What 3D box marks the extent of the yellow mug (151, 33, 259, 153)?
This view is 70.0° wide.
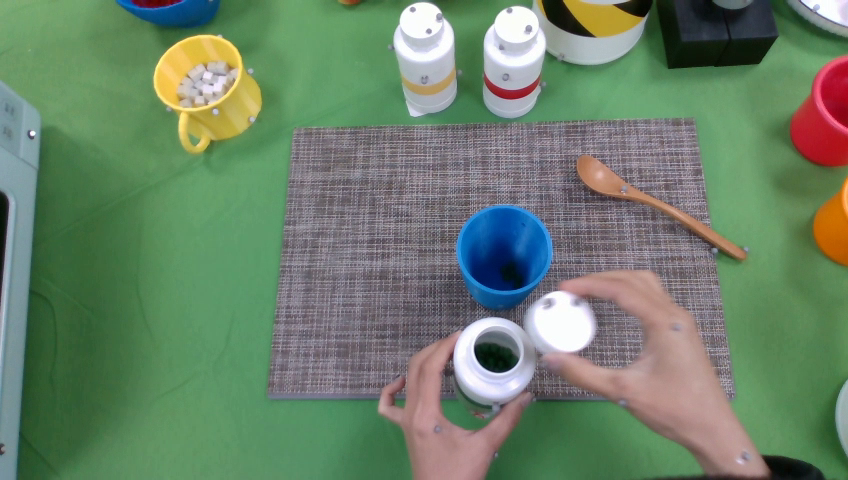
[{"bbox_3d":[-0.250,-0.160,0.686,0.100,0.064,0.130,9,72,6],"label":"yellow mug"}]

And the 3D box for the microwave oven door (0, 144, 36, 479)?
[{"bbox_3d":[-0.437,0.043,0.517,0.039,0.245,0.353,-10,70,1],"label":"microwave oven door"}]

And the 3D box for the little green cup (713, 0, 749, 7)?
[{"bbox_3d":[0.332,-0.283,0.646,0.061,0.039,0.061,-1,69,3],"label":"little green cup"}]

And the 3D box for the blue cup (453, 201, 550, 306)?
[{"bbox_3d":[0.070,0.022,0.575,0.092,0.101,0.092,-1,70,3],"label":"blue cup"}]

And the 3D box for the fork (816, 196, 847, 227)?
[{"bbox_3d":[0.449,-0.004,0.534,0.028,0.019,0.205,-39,28,-8],"label":"fork"}]

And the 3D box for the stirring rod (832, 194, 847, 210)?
[{"bbox_3d":[0.420,-0.005,0.544,0.014,0.006,0.175,1,27,3],"label":"stirring rod"}]

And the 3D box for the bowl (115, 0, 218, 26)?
[{"bbox_3d":[-0.302,-0.317,0.739,0.151,0.077,0.150,-1,71,3],"label":"bowl"}]

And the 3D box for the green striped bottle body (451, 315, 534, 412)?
[{"bbox_3d":[0.053,0.100,0.488,0.063,0.120,0.062,-1,67,2],"label":"green striped bottle body"}]

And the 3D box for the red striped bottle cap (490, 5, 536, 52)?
[{"bbox_3d":[0.088,-0.208,0.592,0.044,0.018,0.044,0,70,1],"label":"red striped bottle cap"}]

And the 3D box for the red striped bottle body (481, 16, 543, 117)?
[{"bbox_3d":[0.093,-0.189,0.642,0.063,0.120,0.062,-3,68,8],"label":"red striped bottle body"}]

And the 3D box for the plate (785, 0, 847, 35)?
[{"bbox_3d":[0.501,-0.317,0.698,0.209,0.038,0.207,-1,71,4],"label":"plate"}]

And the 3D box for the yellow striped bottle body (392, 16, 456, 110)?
[{"bbox_3d":[0.001,-0.198,0.651,0.063,0.121,0.062,-2,70,5],"label":"yellow striped bottle body"}]

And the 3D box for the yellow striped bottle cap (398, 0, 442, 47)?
[{"bbox_3d":[-0.004,-0.216,0.603,0.044,0.019,0.044,-1,72,3],"label":"yellow striped bottle cap"}]

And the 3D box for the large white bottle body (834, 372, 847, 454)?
[{"bbox_3d":[0.430,0.137,0.466,0.130,0.186,0.129,-2,70,5],"label":"large white bottle body"}]

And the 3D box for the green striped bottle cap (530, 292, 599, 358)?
[{"bbox_3d":[0.096,0.058,0.413,0.044,0.020,0.044,7,51,-9],"label":"green striped bottle cap"}]

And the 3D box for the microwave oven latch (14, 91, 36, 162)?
[{"bbox_3d":[-0.460,-0.126,0.685,0.030,0.030,0.078,-8,71,1],"label":"microwave oven latch"}]

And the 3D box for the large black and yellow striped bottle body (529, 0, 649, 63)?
[{"bbox_3d":[0.182,-0.293,0.637,0.131,0.185,0.130,-1,70,4],"label":"large black and yellow striped bottle body"}]

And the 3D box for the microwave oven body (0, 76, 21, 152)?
[{"bbox_3d":[-0.587,0.030,0.538,0.326,0.262,0.438,-10,71,1],"label":"microwave oven body"}]

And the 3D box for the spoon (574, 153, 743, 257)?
[{"bbox_3d":[0.240,-0.035,0.625,0.193,0.022,0.041,30,51,13],"label":"spoon"}]
